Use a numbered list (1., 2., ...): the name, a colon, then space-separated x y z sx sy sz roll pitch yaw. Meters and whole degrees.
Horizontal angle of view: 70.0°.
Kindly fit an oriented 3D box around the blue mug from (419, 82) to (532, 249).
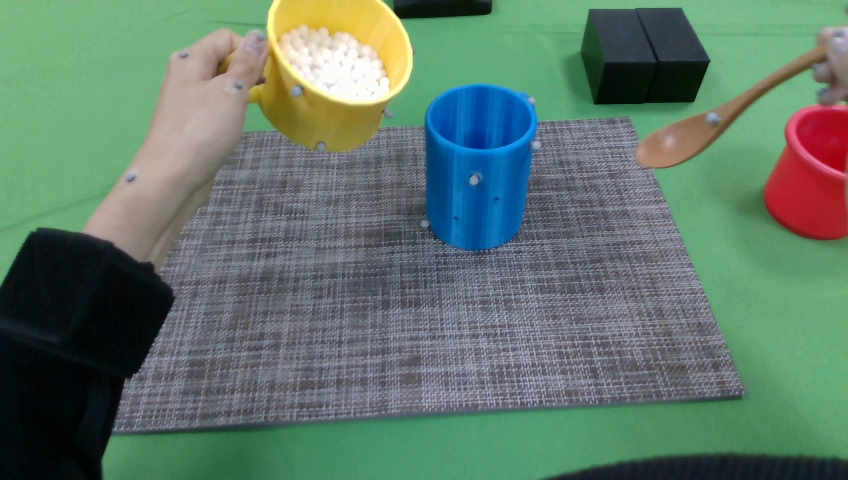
1. blue mug: 0.049 -0.066 0.486 0.081 0.107 0.116 33 57 25

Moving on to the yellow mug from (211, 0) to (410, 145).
1. yellow mug: -0.080 -0.121 0.419 0.131 0.064 0.099 -16 78 -29

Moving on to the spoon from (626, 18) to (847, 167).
1. spoon: 0.199 -0.093 0.348 0.022 0.194 0.041 29 54 -20
